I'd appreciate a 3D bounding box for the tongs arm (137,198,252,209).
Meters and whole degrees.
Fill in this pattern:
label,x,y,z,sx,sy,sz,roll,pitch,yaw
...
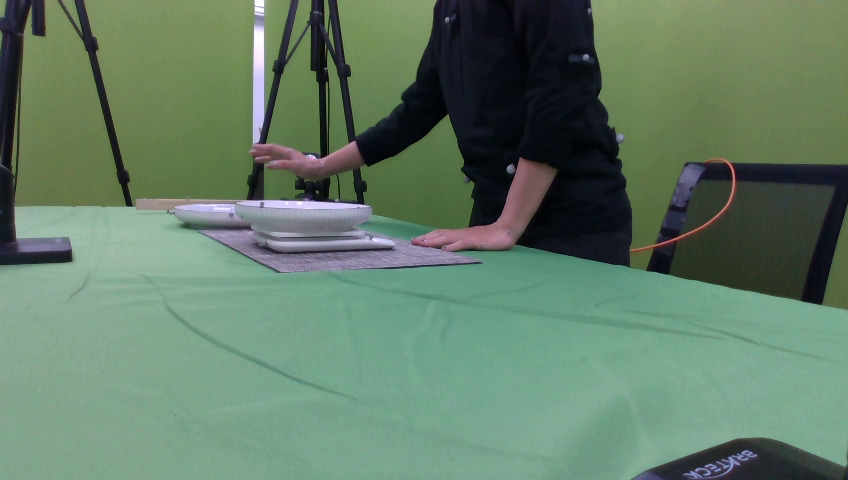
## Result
label,x,y,z,sx,sy,sz,roll,pitch,yaw
tongs arm,-0.489,-0.086,1.472,0.050,0.026,0.387,10,9,42

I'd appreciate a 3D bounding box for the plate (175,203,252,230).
label,x,y,z,sx,sy,sz,roll,pitch,yaw
plate,-0.381,-0.047,1.199,0.208,0.039,0.207,3,7,0

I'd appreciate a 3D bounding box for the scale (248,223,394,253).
label,x,y,z,sx,sy,sz,roll,pitch,yaw
scale,-0.162,-0.006,0.954,0.202,0.031,0.148,-2,8,-32

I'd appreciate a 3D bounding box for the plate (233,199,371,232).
label,x,y,z,sx,sy,sz,roll,pitch,yaw
plate,-0.188,-0.039,0.939,0.209,0.038,0.209,3,7,0

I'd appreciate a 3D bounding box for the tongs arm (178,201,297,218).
label,x,y,z,sx,sy,sz,roll,pitch,yaw
tongs arm,-0.418,-0.073,1.419,0.028,0.028,0.389,3,6,28
